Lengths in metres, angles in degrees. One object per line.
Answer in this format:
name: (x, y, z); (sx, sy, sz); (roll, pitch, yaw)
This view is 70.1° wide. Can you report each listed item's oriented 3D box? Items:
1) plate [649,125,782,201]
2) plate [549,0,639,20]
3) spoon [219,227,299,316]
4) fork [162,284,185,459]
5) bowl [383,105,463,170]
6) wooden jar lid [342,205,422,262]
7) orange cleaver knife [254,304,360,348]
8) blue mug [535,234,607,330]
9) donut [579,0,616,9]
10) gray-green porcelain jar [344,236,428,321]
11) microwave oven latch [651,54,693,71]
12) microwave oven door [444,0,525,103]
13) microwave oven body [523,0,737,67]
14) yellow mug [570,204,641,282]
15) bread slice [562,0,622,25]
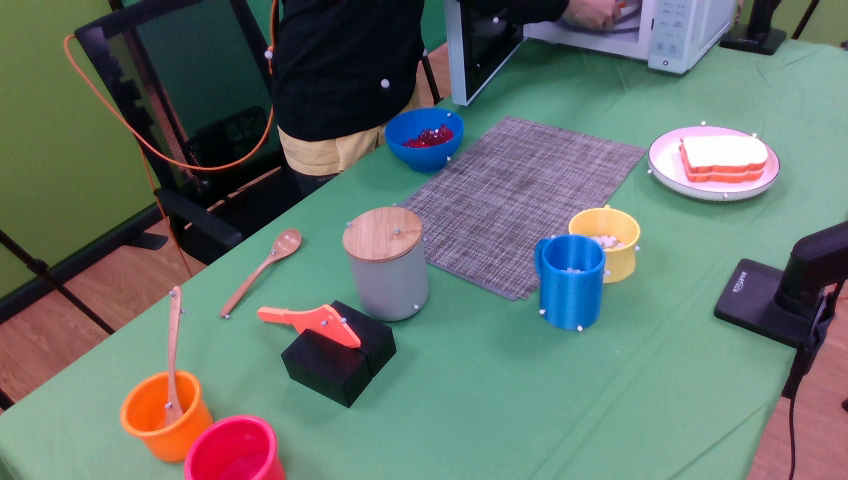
plate: (0.493, -0.128, 1.036); (0.207, 0.039, 0.206); (-4, 41, 4)
plate: (0.401, -0.561, 1.426); (0.209, 0.038, 0.208); (-5, 37, 4)
spoon: (-0.261, 0.046, 0.954); (0.041, 0.021, 0.194); (27, 48, 10)
fork: (-0.303, 0.157, 0.733); (0.028, 0.019, 0.207); (-3, 84, 12)
bowl: (0.002, -0.185, 1.143); (0.151, 0.077, 0.150); (-4, 41, 4)
wooden jar lid: (-0.055, -0.005, 0.808); (0.108, 0.021, 0.108); (-6, 41, 6)
orange cleaver knife: (-0.161, 0.115, 0.813); (0.210, 0.077, 0.012); (-4, 33, 46)
blue mug: (0.191, 0.048, 0.824); (0.082, 0.106, 0.115); (-26, 44, -21)
donut: (0.400, -0.573, 1.399); (0.099, 0.048, 0.098); (1, 55, -1)
gray-green porcelain jar: (-0.049, 0.042, 0.849); (0.106, 0.127, 0.105); (-4, 41, 4)
microwave oven latch: (0.532, -0.386, 1.302); (0.078, 0.029, 0.030); (26, 52, 33)
microwave oven door: (0.141, -0.494, 1.326); (0.039, 0.245, 0.356); (15, 45, 24)
microwave oven body: (0.475, -0.601, 1.411); (0.438, 0.261, 0.327); (23, 50, 32)
yellow mug: (0.268, -0.005, 0.904); (0.099, 0.064, 0.130); (7, 41, 15)
bread slice: (0.393, -0.555, 1.428); (0.105, 0.019, 0.130); (-34, 56, -26)
